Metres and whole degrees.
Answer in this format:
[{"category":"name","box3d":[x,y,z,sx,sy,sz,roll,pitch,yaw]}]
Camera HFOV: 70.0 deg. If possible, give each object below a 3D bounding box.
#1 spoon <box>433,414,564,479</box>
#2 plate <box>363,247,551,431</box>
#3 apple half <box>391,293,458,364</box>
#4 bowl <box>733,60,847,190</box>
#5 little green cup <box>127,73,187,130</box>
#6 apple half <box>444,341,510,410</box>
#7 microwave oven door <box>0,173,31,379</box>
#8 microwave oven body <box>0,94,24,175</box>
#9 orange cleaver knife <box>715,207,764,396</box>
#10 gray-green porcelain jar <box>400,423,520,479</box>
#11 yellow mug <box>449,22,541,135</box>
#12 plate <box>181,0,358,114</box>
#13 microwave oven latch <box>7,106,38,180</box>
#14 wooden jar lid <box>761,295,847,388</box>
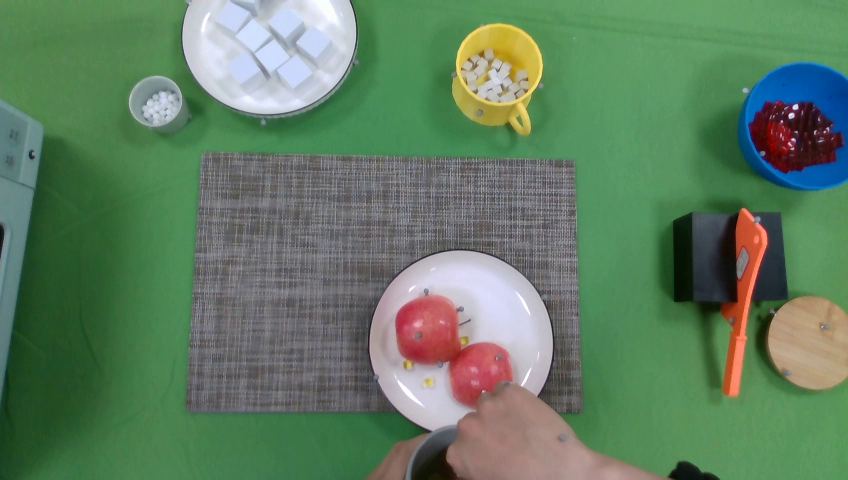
[{"category":"spoon","box3d":[0.060,0.179,0.517,0.041,0.194,0.021,43,54,0]},{"category":"plate","box3d":[0.036,0.112,0.685,0.209,0.038,0.208,0,82,-2]},{"category":"apple half","box3d":[0.000,0.098,0.670,0.075,0.053,0.080,-2,83,0]},{"category":"bowl","box3d":[0.428,-0.125,0.715,0.151,0.077,0.151,0,82,-2]},{"category":"little green cup","box3d":[-0.310,-0.160,0.712,0.061,0.039,0.061,0,83,-3]},{"category":"apple half","box3d":[0.061,0.152,0.674,0.081,0.033,0.081,0,79,-2]},{"category":"microwave oven door","box3d":[-0.474,0.092,0.552,0.039,0.244,0.354,4,82,-1]},{"category":"microwave oven body","box3d":[-0.617,0.040,0.559,0.326,0.260,0.440,4,82,-2]},{"category":"orange cleaver knife","box3d":[0.347,0.070,0.684,0.012,0.077,0.212,2,106,2]},{"category":"gray-green porcelain jar","box3d":[0.025,0.250,0.569,0.106,0.127,0.105,6,45,-6]},{"category":"yellow mug","box3d":[0.090,-0.184,0.718,0.100,0.064,0.130,-28,85,-6]},{"category":"plate","box3d":[-0.182,-0.248,0.732,0.208,0.039,0.207,0,82,-2]},{"category":"microwave oven latch","box3d":[-0.460,-0.110,0.683,0.030,0.029,0.079,8,82,-1]},{"category":"wooden jar lid","box3d":[0.446,0.119,0.711,0.108,0.021,0.108,0,82,0]}]
